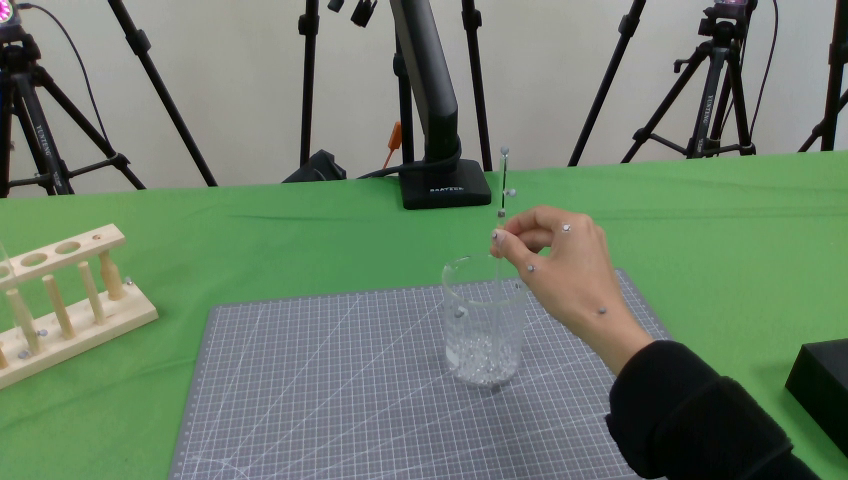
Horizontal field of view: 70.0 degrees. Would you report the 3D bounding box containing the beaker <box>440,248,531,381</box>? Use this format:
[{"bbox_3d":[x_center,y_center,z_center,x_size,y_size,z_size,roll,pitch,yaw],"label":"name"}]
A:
[{"bbox_3d":[0.049,0.066,0.534,0.083,0.101,0.074,27,42,35],"label":"beaker"}]

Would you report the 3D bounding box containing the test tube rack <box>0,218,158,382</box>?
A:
[{"bbox_3d":[-0.383,0.070,0.547,0.242,0.086,0.066,-27,42,-34],"label":"test tube rack"}]

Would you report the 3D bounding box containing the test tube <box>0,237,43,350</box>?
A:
[{"bbox_3d":[-0.358,0.034,0.519,0.017,0.151,0.017,1,33,-1],"label":"test tube"}]

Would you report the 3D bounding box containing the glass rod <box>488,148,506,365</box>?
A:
[{"bbox_3d":[0.061,0.021,0.502,0.008,0.201,0.008,0,26,0],"label":"glass rod"}]
